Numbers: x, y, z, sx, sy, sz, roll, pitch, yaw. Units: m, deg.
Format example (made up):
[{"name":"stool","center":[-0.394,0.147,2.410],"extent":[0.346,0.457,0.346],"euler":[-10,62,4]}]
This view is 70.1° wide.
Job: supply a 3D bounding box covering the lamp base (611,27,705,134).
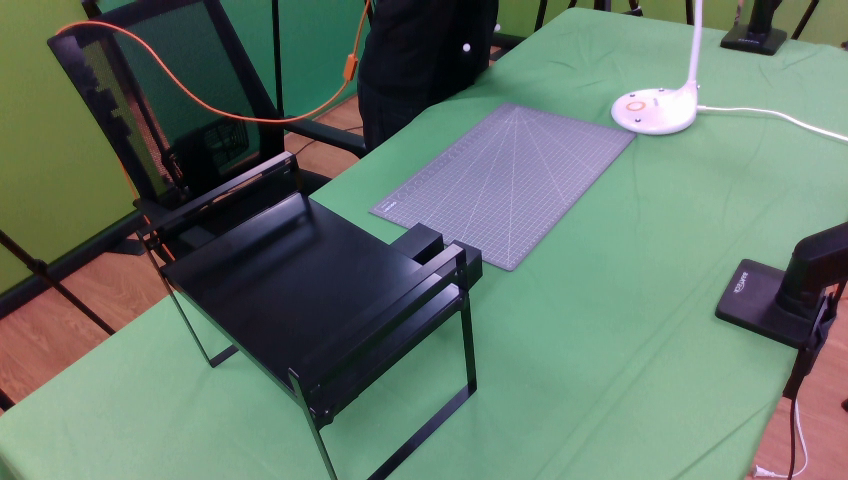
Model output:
[{"name":"lamp base","center":[0.459,-0.316,1.154],"extent":[0.179,0.181,0.159],"euler":[-6,41,-1]}]
